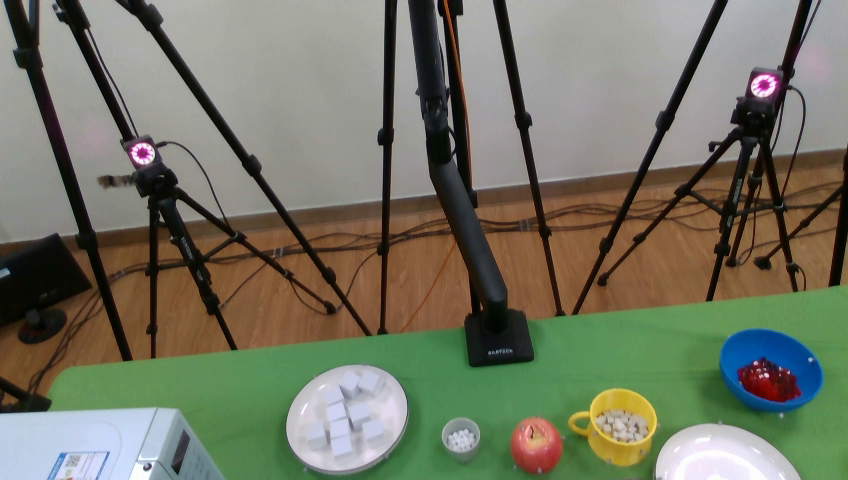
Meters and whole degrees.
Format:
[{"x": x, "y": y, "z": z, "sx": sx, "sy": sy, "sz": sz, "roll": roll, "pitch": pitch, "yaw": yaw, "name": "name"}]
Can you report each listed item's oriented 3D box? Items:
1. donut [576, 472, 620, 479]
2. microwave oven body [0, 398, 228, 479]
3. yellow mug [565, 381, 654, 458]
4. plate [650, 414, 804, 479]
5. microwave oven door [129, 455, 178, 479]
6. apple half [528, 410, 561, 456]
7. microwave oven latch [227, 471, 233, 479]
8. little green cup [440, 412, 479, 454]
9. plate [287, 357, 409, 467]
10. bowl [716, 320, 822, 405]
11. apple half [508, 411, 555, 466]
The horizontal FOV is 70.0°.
[{"x": 0.253, "y": 0.381, "z": 0.866, "sx": 0.099, "sy": 0.049, "sz": 0.098, "roll": -6, "pitch": 43, "yaw": 6, "name": "donut"}, {"x": -0.474, "y": 0.452, "z": 0.738, "sx": 0.326, "sy": 0.263, "sz": 0.437, "roll": -3, "pitch": 43, "yaw": 4, "name": "microwave oven body"}, {"x": 0.291, "y": 0.282, "z": 0.959, "sx": 0.130, "sy": 0.064, "sz": 0.099, "roll": 1, "pitch": 43, "yaw": 11, "name": "yellow mug"}, {"x": 0.436, "y": 0.354, "z": 0.879, "sx": 0.209, "sy": 0.038, "sz": 0.207, "roll": -5, "pitch": 42, "yaw": 4, "name": "plate"}, {"x": -0.331, "y": 0.467, "z": 0.692, "sx": 0.039, "sy": 0.246, "sz": 0.352, "roll": -4, "pitch": 42, "yaw": 5, "name": "microwave oven door"}, {"x": 0.193, "y": 0.299, "z": 0.950, "sx": 0.033, "sy": 0.082, "sz": 0.080, "roll": -28, "pitch": 45, "yaw": -14, "name": "apple half"}, {"x": -0.313, "y": 0.395, "z": 0.921, "sx": 0.030, "sy": 0.030, "sz": 0.078, "roll": -2, "pitch": 43, "yaw": 6, "name": "microwave oven latch"}, {"x": 0.059, "y": 0.314, "z": 0.981, "sx": 0.061, "sy": 0.039, "sz": 0.061, "roll": -5, "pitch": 42, "yaw": 4, "name": "little green cup"}, {"x": -0.126, "y": 0.293, "z": 1.032, "sx": 0.207, "sy": 0.039, "sz": 0.205, "roll": -4, "pitch": 42, "yaw": 4, "name": "plate"}, {"x": 0.550, "y": 0.213, "z": 0.987, "sx": 0.151, "sy": 0.077, "sz": 0.150, "roll": -5, "pitch": 42, "yaw": 5, "name": "bowl"}, {"x": 0.159, "y": 0.315, "z": 0.939, "sx": 0.053, "sy": 0.075, "sz": 0.080, "roll": -27, "pitch": 49, "yaw": -13, "name": "apple half"}]
